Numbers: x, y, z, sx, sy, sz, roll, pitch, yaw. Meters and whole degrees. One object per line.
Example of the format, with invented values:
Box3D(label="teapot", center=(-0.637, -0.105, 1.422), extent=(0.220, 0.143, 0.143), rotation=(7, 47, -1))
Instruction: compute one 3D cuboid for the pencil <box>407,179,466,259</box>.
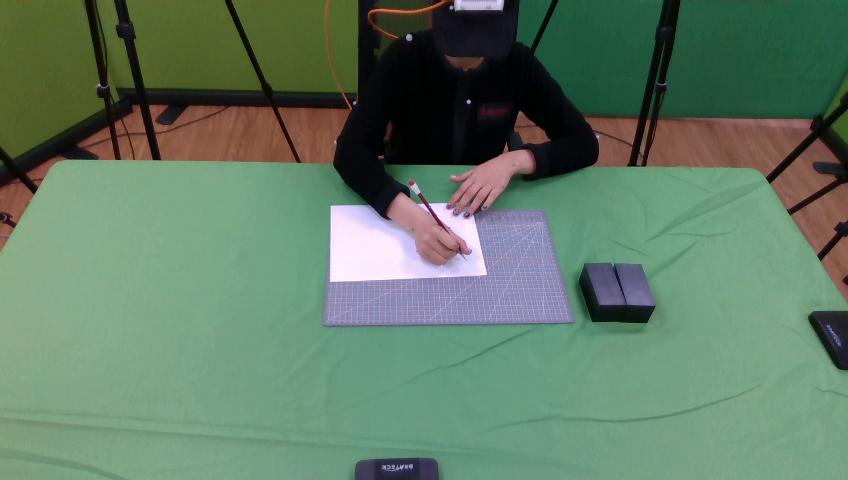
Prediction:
Box3D(label="pencil", center=(0.027, -0.036, 1.136), extent=(0.012, 0.195, 0.012), rotation=(-31, 22, 14))
